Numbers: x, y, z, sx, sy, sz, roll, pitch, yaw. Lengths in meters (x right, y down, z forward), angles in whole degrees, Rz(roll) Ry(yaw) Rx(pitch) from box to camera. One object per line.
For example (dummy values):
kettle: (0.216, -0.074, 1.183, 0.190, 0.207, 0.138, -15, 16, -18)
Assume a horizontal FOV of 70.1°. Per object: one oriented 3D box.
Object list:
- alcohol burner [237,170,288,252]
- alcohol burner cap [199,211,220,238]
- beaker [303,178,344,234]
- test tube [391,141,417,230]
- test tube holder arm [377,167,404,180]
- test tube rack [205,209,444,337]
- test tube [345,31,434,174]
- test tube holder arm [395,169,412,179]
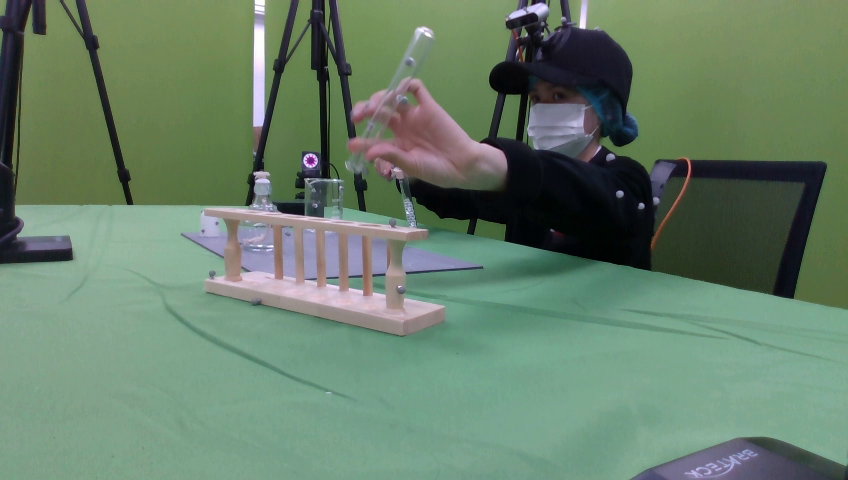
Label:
alcohol burner: (-0.236, -0.042, 0.882, 0.078, 0.119, 0.078, 2, 9, 0)
alcohol burner cap: (-0.356, -0.027, 1.002, 0.034, 0.048, 0.034, 2, 7, 0)
beaker: (-0.189, -0.063, 1.119, 0.073, 0.100, 0.084, 7, 9, 28)
test tube: (-0.032, -0.088, 0.992, 0.017, 0.150, 0.017, -11, 10, 2)
test tube holder arm: (-0.060, -0.118, 1.052, 0.013, 0.015, 0.178, -2, 10, -17)
test tube rack: (-0.100, 0.021, 0.565, 0.241, 0.085, 0.067, 7, 8, 32)
test tube: (-0.033, -0.123, 0.552, 0.017, 0.150, 0.017, 27, 26, -14)
test tube holder arm: (-0.041, -0.111, 1.012, 0.010, 0.015, 0.087, -3, 10, -22)
